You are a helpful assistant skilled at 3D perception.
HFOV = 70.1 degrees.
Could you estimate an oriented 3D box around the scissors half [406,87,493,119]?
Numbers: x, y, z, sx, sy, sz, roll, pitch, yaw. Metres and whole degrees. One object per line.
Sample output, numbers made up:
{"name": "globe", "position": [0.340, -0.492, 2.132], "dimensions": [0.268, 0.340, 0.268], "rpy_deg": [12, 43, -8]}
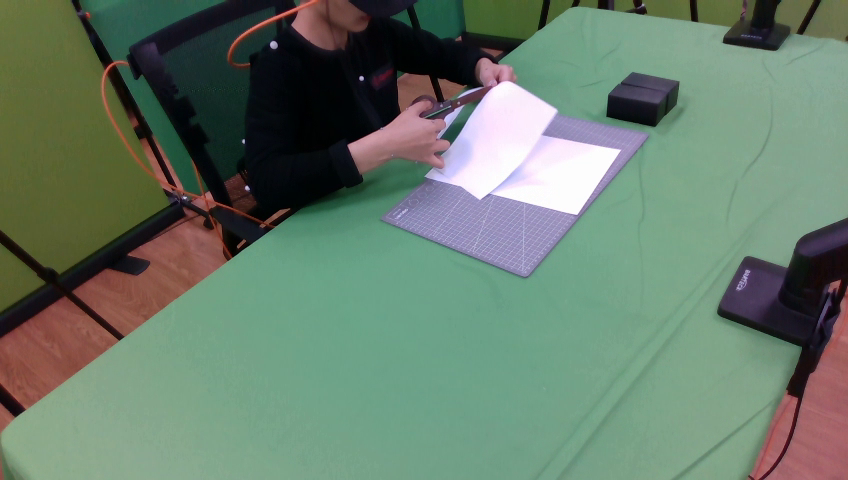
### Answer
{"name": "scissors half", "position": [0.049, -0.260, 1.117], "dimensions": [0.176, 0.040, 0.012], "rpy_deg": [-17, 22, -14]}

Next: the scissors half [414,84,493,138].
{"name": "scissors half", "position": [0.057, -0.242, 1.124], "dimensions": [0.175, 0.040, 0.012], "rpy_deg": [-36, 20, -6]}
